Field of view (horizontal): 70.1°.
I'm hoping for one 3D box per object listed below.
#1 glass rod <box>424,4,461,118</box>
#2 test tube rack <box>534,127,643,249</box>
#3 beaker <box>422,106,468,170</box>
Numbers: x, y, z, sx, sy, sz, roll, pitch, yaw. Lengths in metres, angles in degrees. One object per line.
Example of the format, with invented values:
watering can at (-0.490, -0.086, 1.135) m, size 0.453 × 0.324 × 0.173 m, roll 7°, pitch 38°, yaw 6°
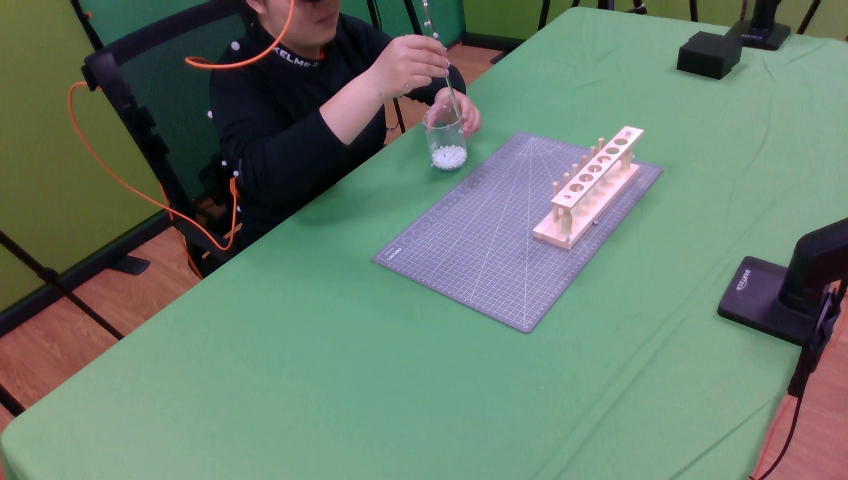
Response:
glass rod at (0.031, -0.279, 0.963) m, size 0.008 × 0.201 × 0.008 m, roll -13°, pitch 40°, yaw 12°
test tube rack at (0.272, -0.094, 0.990) m, size 0.066 × 0.085 × 0.243 m, roll 24°, pitch 50°, yaw 33°
beaker at (0.042, -0.188, 1.119) m, size 0.073 × 0.101 × 0.084 m, roll 7°, pitch 46°, yaw 20°
